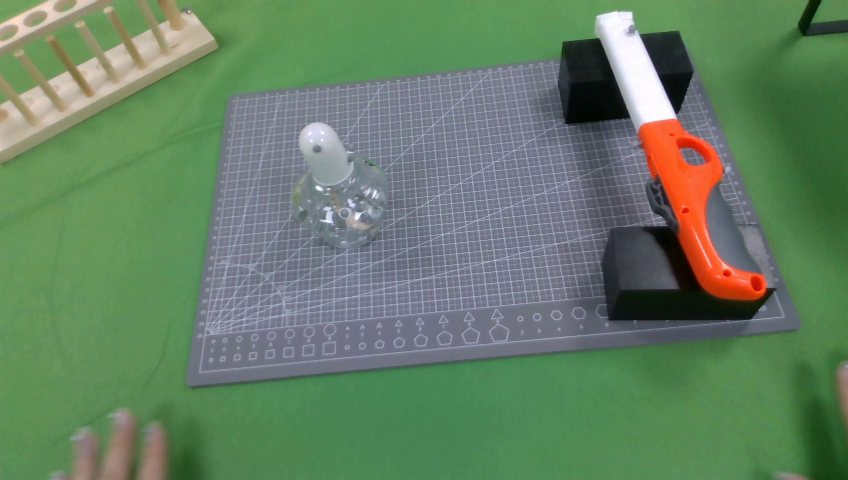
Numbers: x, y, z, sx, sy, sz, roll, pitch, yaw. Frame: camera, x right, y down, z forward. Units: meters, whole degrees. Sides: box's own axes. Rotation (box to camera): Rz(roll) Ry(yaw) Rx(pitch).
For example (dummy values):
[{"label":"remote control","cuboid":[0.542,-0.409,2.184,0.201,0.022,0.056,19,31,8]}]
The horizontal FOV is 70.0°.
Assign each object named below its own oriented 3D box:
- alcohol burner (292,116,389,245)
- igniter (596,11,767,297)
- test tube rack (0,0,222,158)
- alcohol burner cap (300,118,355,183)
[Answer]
[{"label":"alcohol burner","cuboid":[-0.068,-0.048,0.466,0.078,0.120,0.077,-3,57,5]},{"label":"igniter","cuboid":[0.181,-0.078,0.451,0.057,0.025,0.273,-9,57,2]},{"label":"test tube rack","cuboid":[-0.336,-0.187,0.598,0.242,0.086,0.066,-33,61,-14]},{"label":"alcohol burner cap","cuboid":[-0.071,-0.067,0.436,0.034,0.048,0.033,-4,61,8]}]
